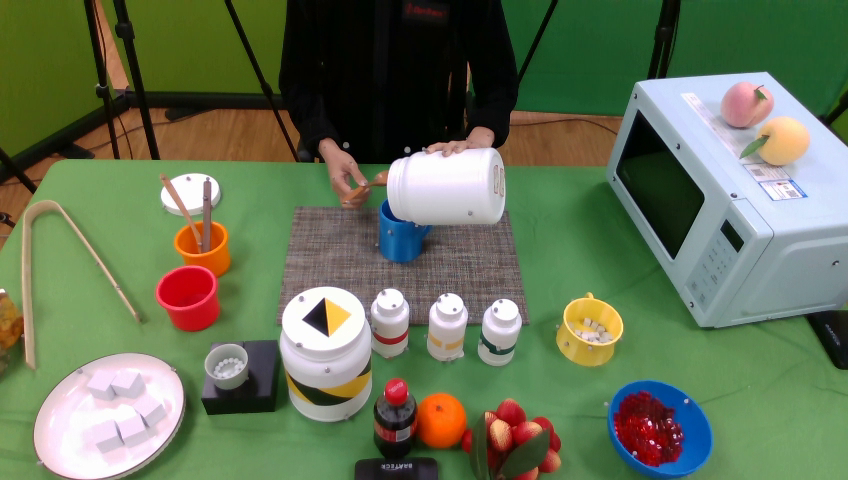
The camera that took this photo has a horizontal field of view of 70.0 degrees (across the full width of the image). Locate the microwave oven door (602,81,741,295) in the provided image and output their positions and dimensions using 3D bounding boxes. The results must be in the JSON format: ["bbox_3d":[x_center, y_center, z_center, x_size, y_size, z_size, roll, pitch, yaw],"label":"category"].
[{"bbox_3d":[0.456,-0.107,1.162,0.039,0.245,0.353,-7,47,-11],"label":"microwave oven door"}]

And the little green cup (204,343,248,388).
[{"bbox_3d":[-0.294,0.190,0.909,0.061,0.039,0.061,1,48,0],"label":"little green cup"}]

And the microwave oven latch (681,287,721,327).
[{"bbox_3d":[0.494,0.119,1.087,0.030,0.029,0.078,-6,46,-9],"label":"microwave oven latch"}]

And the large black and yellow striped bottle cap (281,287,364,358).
[{"bbox_3d":[-0.141,0.112,0.847,0.115,0.019,0.114,5,45,-4],"label":"large black and yellow striped bottle cap"}]

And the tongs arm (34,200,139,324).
[{"bbox_3d":[-0.622,0.034,1.105,0.051,0.026,0.382,-32,56,-25],"label":"tongs arm"}]

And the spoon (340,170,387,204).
[{"bbox_3d":[-0.110,-0.102,1.147,0.041,0.022,0.193,20,24,16],"label":"spoon"}]

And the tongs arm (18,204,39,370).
[{"bbox_3d":[-0.698,0.069,1.069,0.028,0.028,0.385,-20,51,-13],"label":"tongs arm"}]

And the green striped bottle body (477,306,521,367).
[{"bbox_3d":[0.124,0.151,0.995,0.063,0.120,0.063,2,46,-2],"label":"green striped bottle body"}]

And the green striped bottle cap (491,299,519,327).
[{"bbox_3d":[0.128,0.115,0.958,0.044,0.020,0.044,1,47,-1],"label":"green striped bottle cap"}]

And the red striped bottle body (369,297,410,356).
[{"bbox_3d":[-0.059,0.135,0.997,0.063,0.120,0.062,6,49,-7],"label":"red striped bottle body"}]

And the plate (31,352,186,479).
[{"bbox_3d":[-0.459,0.262,0.898,0.209,0.038,0.208,2,46,-2],"label":"plate"}]

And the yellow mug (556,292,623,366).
[{"bbox_3d":[0.285,0.145,1.051,0.100,0.064,0.130,7,45,3],"label":"yellow mug"}]

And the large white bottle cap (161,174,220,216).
[{"bbox_3d":[-0.483,-0.095,1.253,0.115,0.018,0.114,2,46,-2],"label":"large white bottle cap"}]

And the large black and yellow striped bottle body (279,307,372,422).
[{"bbox_3d":[-0.145,0.173,0.907,0.131,0.185,0.130,2,46,-2],"label":"large black and yellow striped bottle body"}]

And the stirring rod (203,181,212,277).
[{"bbox_3d":[-0.396,-0.021,1.107,0.014,0.006,0.176,-1,89,-1],"label":"stirring rod"}]

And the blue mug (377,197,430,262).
[{"bbox_3d":[-0.033,-0.029,1.160,0.116,0.106,0.082,-22,52,-23],"label":"blue mug"}]

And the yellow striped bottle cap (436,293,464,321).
[{"bbox_3d":[0.041,0.106,0.959,0.044,0.019,0.044,-1,50,1],"label":"yellow striped bottle cap"}]

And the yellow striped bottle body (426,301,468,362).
[{"bbox_3d":[0.037,0.142,0.996,0.063,0.121,0.062,3,46,-3],"label":"yellow striped bottle body"}]

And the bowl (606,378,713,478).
[{"bbox_3d":[0.340,0.292,0.906,0.151,0.077,0.150,2,46,-2],"label":"bowl"}]

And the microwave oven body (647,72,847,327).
[{"bbox_3d":[0.607,-0.089,1.164,0.326,0.261,0.438,-7,46,-10],"label":"microwave oven body"}]

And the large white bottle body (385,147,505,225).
[{"bbox_3d":[0.037,-0.092,1.052,0.184,0.131,0.130,0,43,21],"label":"large white bottle body"}]

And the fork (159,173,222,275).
[{"bbox_3d":[-0.427,-0.029,1.103,0.028,0.018,0.207,-31,99,-31],"label":"fork"}]

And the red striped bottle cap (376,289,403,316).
[{"bbox_3d":[-0.054,0.098,0.958,0.044,0.018,0.044,0,48,1],"label":"red striped bottle cap"}]
